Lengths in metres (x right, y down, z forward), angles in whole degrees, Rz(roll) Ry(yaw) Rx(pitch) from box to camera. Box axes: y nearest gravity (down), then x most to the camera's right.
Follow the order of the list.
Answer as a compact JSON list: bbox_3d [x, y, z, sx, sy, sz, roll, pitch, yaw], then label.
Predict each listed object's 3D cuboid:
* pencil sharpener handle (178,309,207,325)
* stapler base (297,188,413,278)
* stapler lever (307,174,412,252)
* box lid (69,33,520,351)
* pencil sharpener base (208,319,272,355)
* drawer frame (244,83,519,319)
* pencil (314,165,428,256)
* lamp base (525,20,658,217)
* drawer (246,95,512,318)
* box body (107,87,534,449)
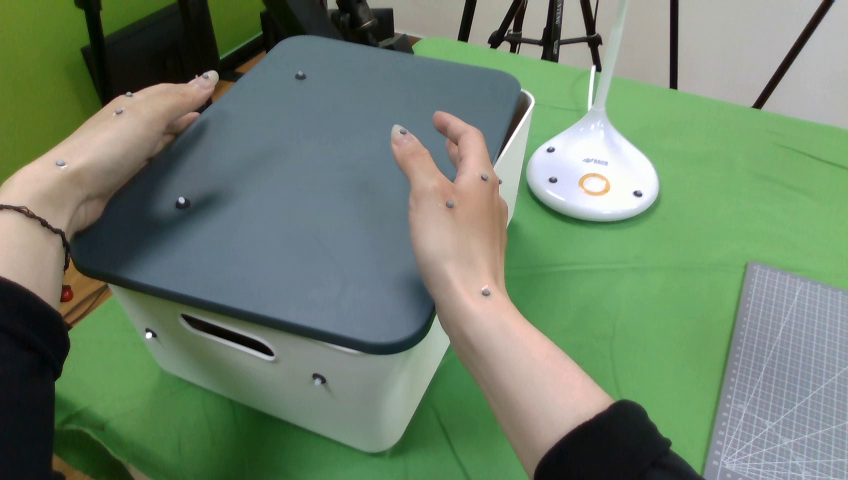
[{"bbox_3d":[-0.200,0.040,0.526,0.030,0.068,0.036,10,10,10],"label":"pencil sharpener handle"},{"bbox_3d":[-0.065,-0.013,0.586,0.129,0.024,0.041,36,41,21],"label":"stapler base"},{"bbox_3d":[-0.060,-0.032,0.571,0.117,0.040,0.027,37,41,20],"label":"stapler lever"},{"bbox_3d":[-0.077,-0.075,0.511,0.262,0.015,0.369,13,45,11],"label":"box lid"},{"bbox_3d":[-0.148,0.054,0.534,0.076,0.108,0.061,10,45,10],"label":"pencil sharpener base"},{"bbox_3d":[-0.034,-0.052,0.609,0.201,0.083,0.212,26,41,8],"label":"drawer frame"},{"bbox_3d":[-0.058,-0.033,0.611,0.012,0.012,0.192,-29,48,-27],"label":"pencil"},{"bbox_3d":[0.206,-0.148,0.703,0.160,0.182,0.177,2,41,2],"label":"lamp base"},{"bbox_3d":[-0.035,-0.047,0.607,0.194,0.074,0.211,26,40,8],"label":"drawer"},{"bbox_3d":[-0.071,-0.017,0.577,0.253,0.162,0.362,17,46,16],"label":"box body"}]
